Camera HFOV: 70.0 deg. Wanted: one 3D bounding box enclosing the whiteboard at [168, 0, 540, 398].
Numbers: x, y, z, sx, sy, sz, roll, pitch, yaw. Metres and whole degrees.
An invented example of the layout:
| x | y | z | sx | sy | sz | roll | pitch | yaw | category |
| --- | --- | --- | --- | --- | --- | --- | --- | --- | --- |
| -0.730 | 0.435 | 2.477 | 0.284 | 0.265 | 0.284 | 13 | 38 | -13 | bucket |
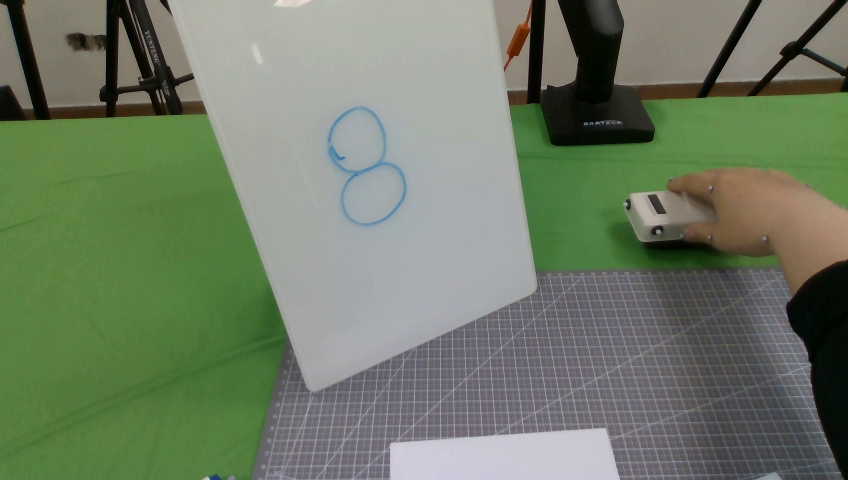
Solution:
| x | y | z | sx | sy | sz | roll | pitch | yaw | category |
| --- | --- | --- | --- | --- | --- | --- | --- | --- | --- |
| -0.051 | -0.070 | 0.500 | 0.217 | 0.307 | 0.142 | -21 | 24 | -18 | whiteboard |

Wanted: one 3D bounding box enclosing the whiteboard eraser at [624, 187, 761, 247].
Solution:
| x | y | z | sx | sy | sz | roll | pitch | yaw | category |
| --- | --- | --- | --- | --- | --- | --- | --- | --- | --- |
| 0.254 | -0.021 | 0.579 | 0.113 | 0.042 | 0.055 | -3 | 42 | -1 | whiteboard eraser |

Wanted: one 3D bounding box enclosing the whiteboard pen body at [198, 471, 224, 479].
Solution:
| x | y | z | sx | sy | sz | roll | pitch | yaw | category |
| --- | --- | --- | --- | --- | --- | --- | --- | --- | --- |
| -0.191 | 0.192 | 0.380 | 0.141 | 0.017 | 0.017 | -29 | 48 | -28 | whiteboard pen body |
